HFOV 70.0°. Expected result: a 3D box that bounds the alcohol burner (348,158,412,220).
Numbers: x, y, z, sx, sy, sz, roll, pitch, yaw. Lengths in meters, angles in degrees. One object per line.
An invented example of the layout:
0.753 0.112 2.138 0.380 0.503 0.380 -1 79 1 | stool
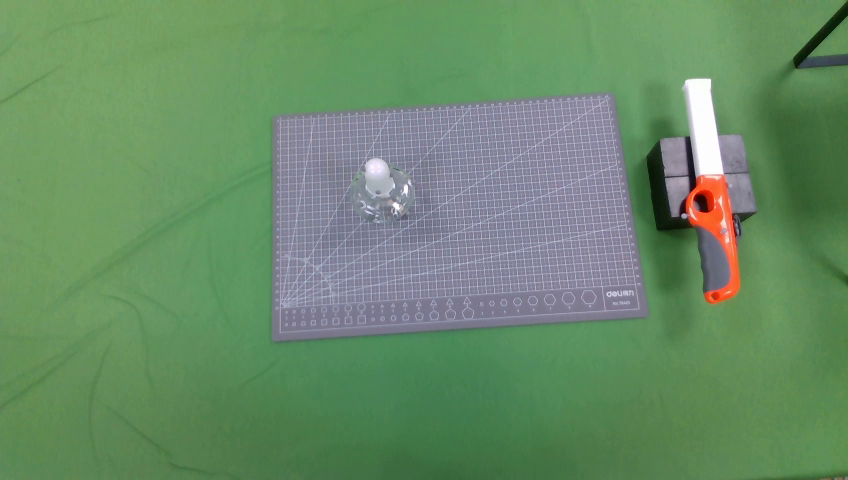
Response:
-0.053 -0.066 0.710 0.078 0.119 0.077 0 74 0 | alcohol burner

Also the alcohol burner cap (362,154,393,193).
-0.053 -0.076 0.676 0.034 0.048 0.033 -1 68 3 | alcohol burner cap

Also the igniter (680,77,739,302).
0.327 -0.064 0.702 0.057 0.025 0.275 0 73 4 | igniter
